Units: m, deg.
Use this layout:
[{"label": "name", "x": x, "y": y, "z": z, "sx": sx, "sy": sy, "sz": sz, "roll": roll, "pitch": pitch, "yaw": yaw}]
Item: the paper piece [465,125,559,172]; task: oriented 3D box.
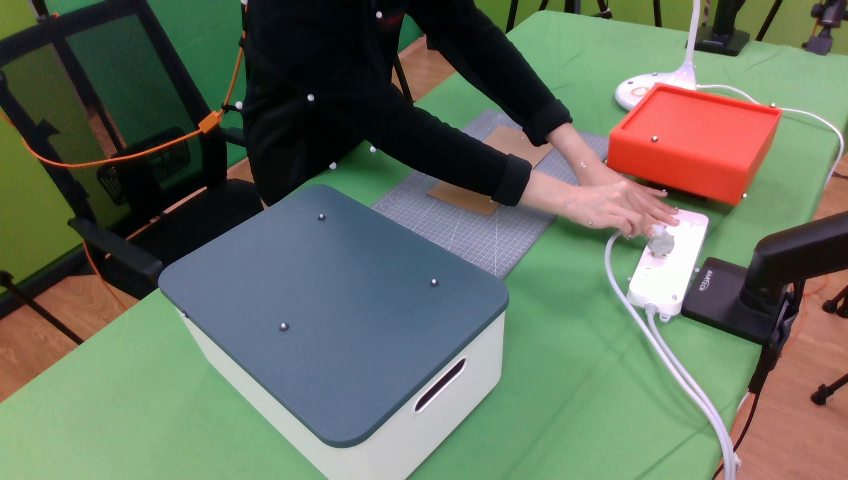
[{"label": "paper piece", "x": 0.172, "y": -0.178, "z": 1.167, "sx": 0.137, "sy": 0.009, "sz": 0.136, "roll": 21, "pitch": 44, "yaw": 31}]

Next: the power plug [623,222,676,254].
[{"label": "power plug", "x": 0.322, "y": -0.006, "z": 0.863, "sx": 0.072, "sy": 0.053, "sz": 0.035, "roll": 29, "pitch": 61, "yaw": 26}]

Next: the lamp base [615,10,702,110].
[{"label": "lamp base", "x": 0.484, "y": -0.364, "z": 1.211, "sx": 0.180, "sy": 0.181, "sz": 0.159, "roll": -15, "pitch": 41, "yaw": -14}]

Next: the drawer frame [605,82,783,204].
[{"label": "drawer frame", "x": 0.441, "y": -0.167, "z": 0.995, "sx": 0.212, "sy": 0.083, "sz": 0.202, "roll": 23, "pitch": 48, "yaw": 30}]

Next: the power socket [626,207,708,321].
[{"label": "power socket", "x": 0.360, "y": 0.026, "z": 0.886, "sx": 0.072, "sy": 0.033, "sz": 0.227, "roll": 16, "pitch": 46, "yaw": 26}]

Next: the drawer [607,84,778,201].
[{"label": "drawer", "x": 0.439, "y": -0.167, "z": 0.996, "sx": 0.210, "sy": 0.073, "sz": 0.195, "roll": 23, "pitch": 48, "yaw": 30}]

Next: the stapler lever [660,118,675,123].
[{"label": "stapler lever", "x": 0.436, "y": -0.192, "z": 1.014, "sx": 0.118, "sy": 0.040, "sz": 0.026, "roll": -15, "pitch": 24, "yaw": -16}]

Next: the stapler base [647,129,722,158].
[{"label": "stapler base", "x": 0.439, "y": -0.167, "z": 1.023, "sx": 0.131, "sy": 0.024, "sz": 0.041, "roll": -17, "pitch": 25, "yaw": -15}]

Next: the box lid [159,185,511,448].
[{"label": "box lid", "x": -0.114, "y": 0.055, "z": 0.705, "sx": 0.368, "sy": 0.015, "sz": 0.264, "roll": 28, "pitch": 51, "yaw": 34}]

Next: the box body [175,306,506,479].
[{"label": "box body", "x": -0.105, "y": 0.111, "z": 0.751, "sx": 0.361, "sy": 0.161, "sz": 0.255, "roll": 28, "pitch": 52, "yaw": 35}]

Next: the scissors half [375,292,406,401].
[{"label": "scissors half", "x": -0.048, "y": 0.139, "z": 0.817, "sx": 0.040, "sy": 0.013, "sz": 0.174, "roll": -4, "pitch": 45, "yaw": 8}]

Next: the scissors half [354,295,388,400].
[{"label": "scissors half", "x": -0.068, "y": 0.142, "z": 0.818, "sx": 0.040, "sy": 0.013, "sz": 0.174, "roll": -20, "pitch": 44, "yaw": 0}]

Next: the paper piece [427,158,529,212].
[{"label": "paper piece", "x": 0.098, "y": -0.103, "z": 1.089, "sx": 0.134, "sy": 0.004, "sz": 0.136, "roll": 22, "pitch": 45, "yaw": 32}]
